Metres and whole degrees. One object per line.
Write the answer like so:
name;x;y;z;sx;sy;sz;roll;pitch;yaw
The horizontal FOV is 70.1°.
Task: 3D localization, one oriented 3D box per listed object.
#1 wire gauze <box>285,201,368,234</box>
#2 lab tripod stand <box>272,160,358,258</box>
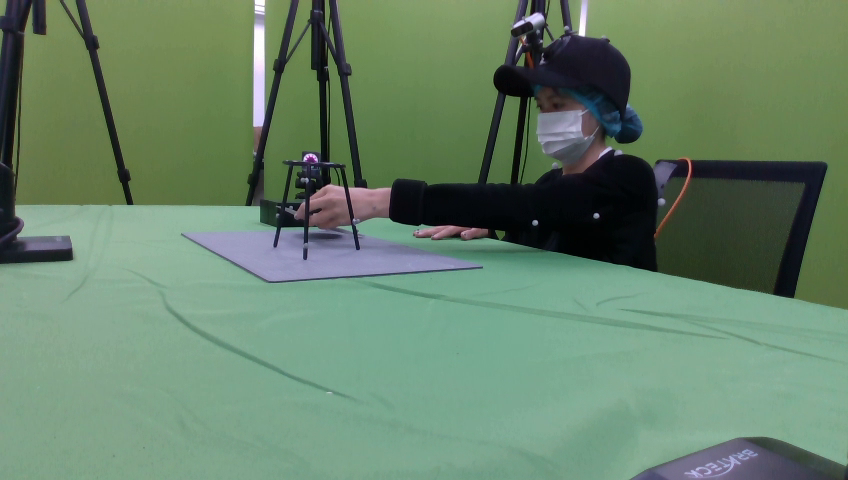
wire gauze;-0.172;-0.042;1.077;0.121;0.011;0.125;10;-15;25
lab tripod stand;-0.159;-0.048;0.876;0.148;0.131;0.148;3;5;0
